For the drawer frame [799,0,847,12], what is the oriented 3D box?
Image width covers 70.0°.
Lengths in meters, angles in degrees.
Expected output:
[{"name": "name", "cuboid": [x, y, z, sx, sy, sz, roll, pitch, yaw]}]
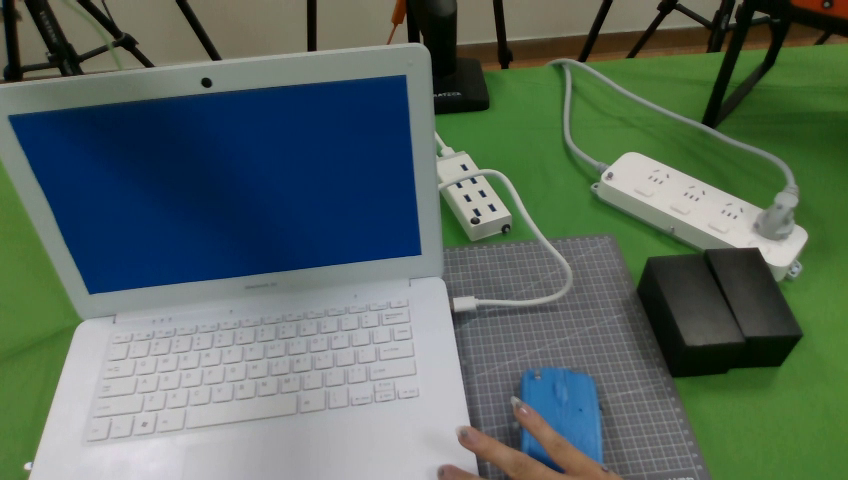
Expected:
[{"name": "drawer frame", "cuboid": [0.502, -0.288, 0.594, 0.200, 0.083, 0.213, 26, 53, 25]}]

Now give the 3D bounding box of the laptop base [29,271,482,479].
[{"name": "laptop base", "cuboid": [-0.140, 0.140, 0.517, 0.355, 0.023, 0.233, -7, 51, -3]}]

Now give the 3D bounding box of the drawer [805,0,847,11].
[{"name": "drawer", "cuboid": [0.500, -0.285, 0.594, 0.193, 0.074, 0.211, 28, 53, 26]}]

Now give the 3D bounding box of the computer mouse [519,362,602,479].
[{"name": "computer mouse", "cuboid": [0.108, 0.145, 0.483, 0.062, 0.041, 0.116, 3, 43, 9]}]

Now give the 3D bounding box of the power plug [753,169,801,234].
[{"name": "power plug", "cuboid": [0.364, -0.031, 0.611, 0.072, 0.053, 0.035, -31, 52, -21]}]

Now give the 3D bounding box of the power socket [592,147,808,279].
[{"name": "power socket", "cuboid": [0.291, -0.035, 0.649, 0.224, 0.033, 0.072, 33, 56, 29]}]

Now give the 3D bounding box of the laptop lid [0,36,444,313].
[{"name": "laptop lid", "cuboid": [-0.163, -0.044, 0.529, 0.357, 0.244, 0.013, -8, 34, -2]}]

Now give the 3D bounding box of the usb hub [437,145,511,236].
[{"name": "usb hub", "cuboid": [0.049, -0.059, 0.688, 0.049, 0.025, 0.123, -18, 49, -13]}]
